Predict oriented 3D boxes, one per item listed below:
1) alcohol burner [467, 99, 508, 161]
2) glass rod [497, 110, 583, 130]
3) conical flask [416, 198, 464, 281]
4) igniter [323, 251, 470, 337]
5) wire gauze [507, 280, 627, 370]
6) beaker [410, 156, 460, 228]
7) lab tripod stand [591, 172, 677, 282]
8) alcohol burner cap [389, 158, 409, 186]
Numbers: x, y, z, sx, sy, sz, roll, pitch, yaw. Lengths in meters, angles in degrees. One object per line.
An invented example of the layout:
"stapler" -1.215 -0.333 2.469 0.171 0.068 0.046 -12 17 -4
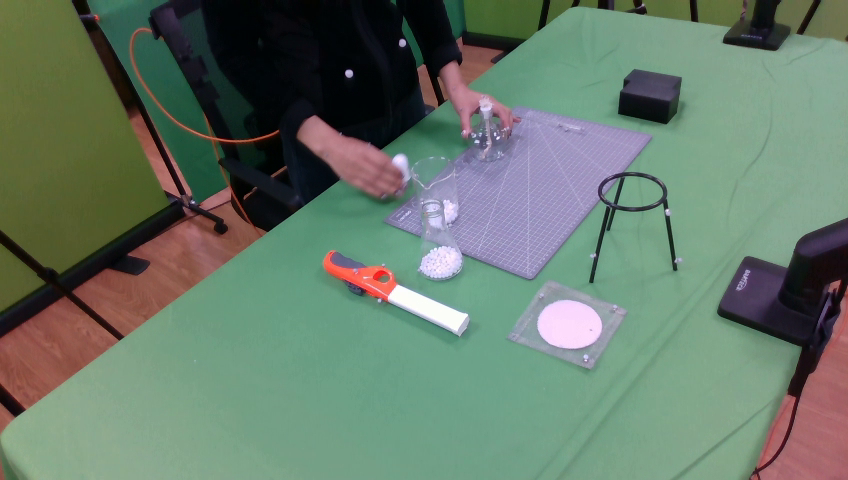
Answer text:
"alcohol burner" 0.119 -0.210 1.134 0.078 0.119 0.077 -4 39 4
"glass rod" 0.233 -0.245 1.235 0.198 0.008 0.008 21 49 35
"conical flask" 0.019 -0.004 0.907 0.075 0.122 0.075 -5 40 5
"igniter" -0.052 0.075 0.901 0.274 0.025 0.057 22 60 32
"wire gauze" 0.196 0.114 0.823 0.120 0.011 0.125 20 50 31
"beaker" 0.020 -0.076 1.006 0.074 0.101 0.084 3 42 15
"lab tripod stand" 0.292 -0.022 0.867 0.148 0.132 0.147 -7 39 6
"alcohol burner cap" -0.046 -0.122 1.072 0.034 0.048 0.033 -6 44 6
